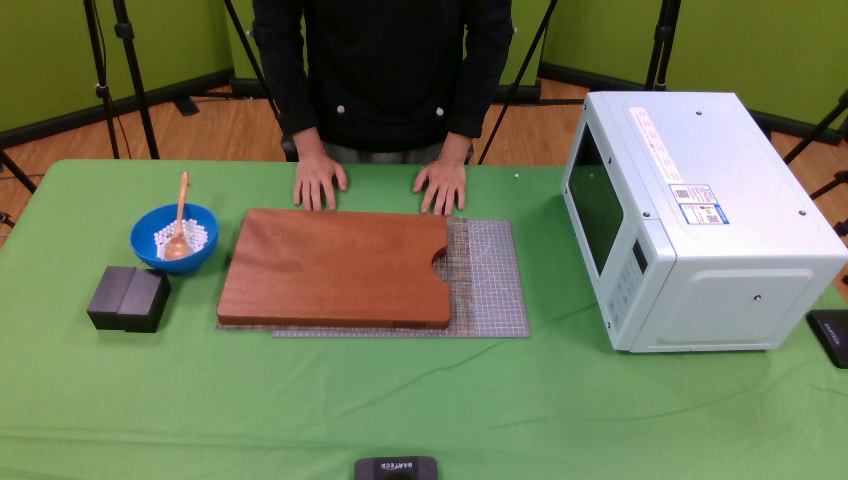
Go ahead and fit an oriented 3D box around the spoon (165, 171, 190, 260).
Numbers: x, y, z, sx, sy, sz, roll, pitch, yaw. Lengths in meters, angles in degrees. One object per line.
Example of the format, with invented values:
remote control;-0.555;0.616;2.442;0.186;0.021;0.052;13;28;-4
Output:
spoon;-0.452;-0.046;1.129;0.041;0.022;0.193;-1;69;-2

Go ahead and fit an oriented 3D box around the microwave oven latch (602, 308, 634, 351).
microwave oven latch;0.332;0.153;1.044;0.030;0.029;0.078;-1;45;-4

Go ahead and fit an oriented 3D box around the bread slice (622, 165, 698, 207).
bread slice;0.449;-0.100;1.145;0.135;0.018;0.106;3;42;-21

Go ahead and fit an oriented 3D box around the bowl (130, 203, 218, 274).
bowl;-0.450;0.010;1.117;0.151;0.077;0.150;3;45;-3

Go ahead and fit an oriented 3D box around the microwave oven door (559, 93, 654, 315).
microwave oven door;0.327;-0.074;1.123;0.039;0.245;0.353;-1;46;-5

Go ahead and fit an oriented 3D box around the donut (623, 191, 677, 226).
donut;0.437;-0.061;1.173;0.099;0.048;0.098;-7;28;4

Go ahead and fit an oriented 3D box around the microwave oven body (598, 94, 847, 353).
microwave oven body;0.475;-0.041;1.110;0.326;0.261;0.438;-1;45;-4

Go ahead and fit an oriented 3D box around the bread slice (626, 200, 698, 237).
bread slice;0.469;-0.044;1.197;0.131;0.019;0.104;3;39;10
